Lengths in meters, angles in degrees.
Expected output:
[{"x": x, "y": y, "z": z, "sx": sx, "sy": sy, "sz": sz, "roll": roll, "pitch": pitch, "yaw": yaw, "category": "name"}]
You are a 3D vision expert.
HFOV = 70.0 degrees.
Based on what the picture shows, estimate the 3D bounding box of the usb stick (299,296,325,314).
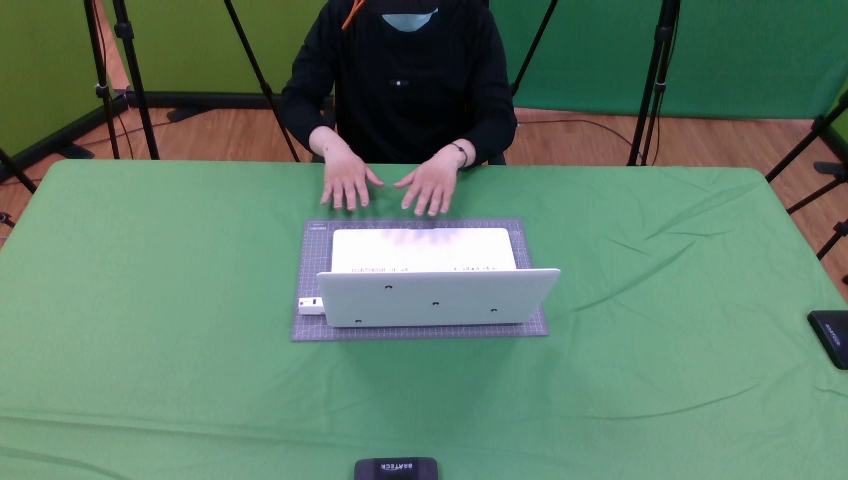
[{"x": -0.187, "y": 0.114, "z": 1.057, "sx": 0.059, "sy": 0.027, "sz": 0.021, "roll": 2, "pitch": 45, "yaw": -5, "category": "usb stick"}]

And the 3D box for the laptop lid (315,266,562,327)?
[{"x": 0.018, "y": 0.094, "z": 0.949, "sx": 0.357, "sy": 0.242, "sz": 0.013, "roll": 0, "pitch": 64, "yaw": -6, "category": "laptop lid"}]

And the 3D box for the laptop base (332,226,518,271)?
[{"x": 0.004, "y": 0.062, "z": 1.136, "sx": 0.355, "sy": 0.023, "sz": 0.234, "roll": -1, "pitch": 44, "yaw": -4, "category": "laptop base"}]
